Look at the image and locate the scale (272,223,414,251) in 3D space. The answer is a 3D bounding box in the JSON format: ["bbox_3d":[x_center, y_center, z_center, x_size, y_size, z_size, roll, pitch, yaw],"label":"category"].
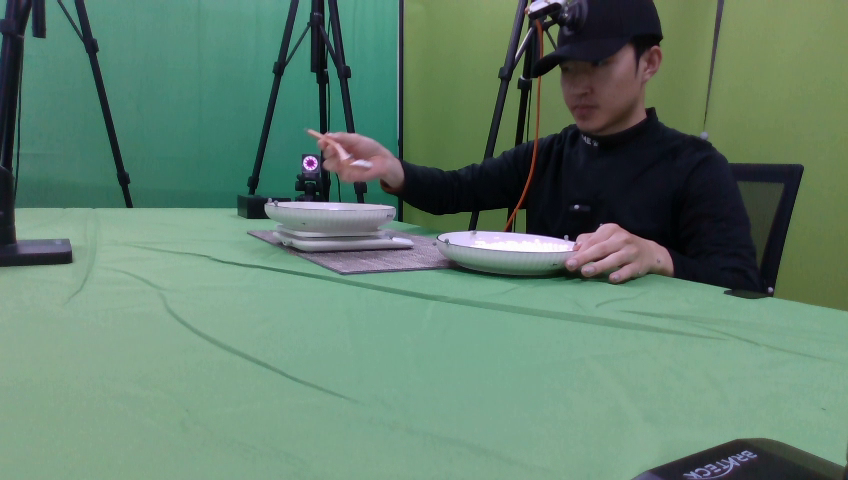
[{"bbox_3d":[-0.131,-0.008,0.983,0.202,0.031,0.148,-2,8,-32],"label":"scale"}]

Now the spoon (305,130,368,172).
[{"bbox_3d":[-0.151,-0.152,1.010,0.042,0.021,0.192,6,25,-41],"label":"spoon"}]

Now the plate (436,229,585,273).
[{"bbox_3d":[0.121,0.015,0.856,0.209,0.038,0.209,3,7,0],"label":"plate"}]

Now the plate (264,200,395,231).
[{"bbox_3d":[-0.150,-0.040,0.971,0.208,0.039,0.207,2,7,0],"label":"plate"}]
